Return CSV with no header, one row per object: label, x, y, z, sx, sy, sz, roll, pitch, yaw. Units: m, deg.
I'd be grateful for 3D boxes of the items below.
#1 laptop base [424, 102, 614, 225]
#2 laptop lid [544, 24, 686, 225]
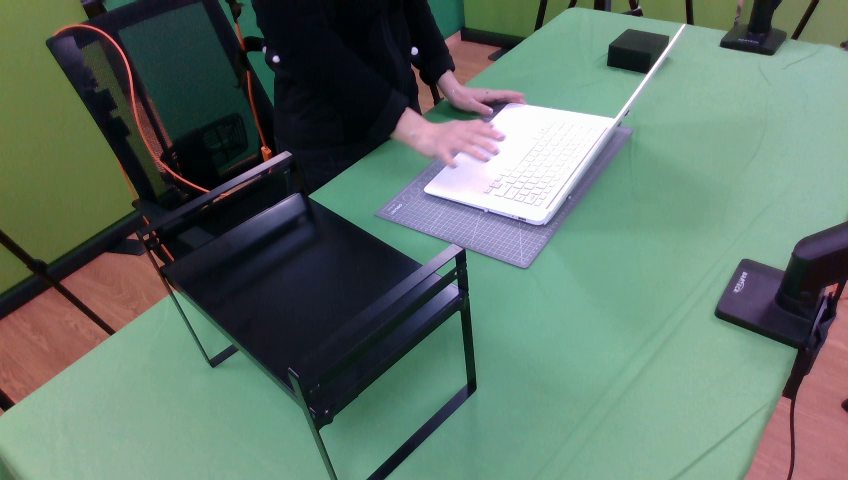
laptop base,0.188,-0.156,1.131,0.234,0.023,0.355,16,46,29
laptop lid,0.315,-0.191,0.987,0.013,0.241,0.357,35,51,9
